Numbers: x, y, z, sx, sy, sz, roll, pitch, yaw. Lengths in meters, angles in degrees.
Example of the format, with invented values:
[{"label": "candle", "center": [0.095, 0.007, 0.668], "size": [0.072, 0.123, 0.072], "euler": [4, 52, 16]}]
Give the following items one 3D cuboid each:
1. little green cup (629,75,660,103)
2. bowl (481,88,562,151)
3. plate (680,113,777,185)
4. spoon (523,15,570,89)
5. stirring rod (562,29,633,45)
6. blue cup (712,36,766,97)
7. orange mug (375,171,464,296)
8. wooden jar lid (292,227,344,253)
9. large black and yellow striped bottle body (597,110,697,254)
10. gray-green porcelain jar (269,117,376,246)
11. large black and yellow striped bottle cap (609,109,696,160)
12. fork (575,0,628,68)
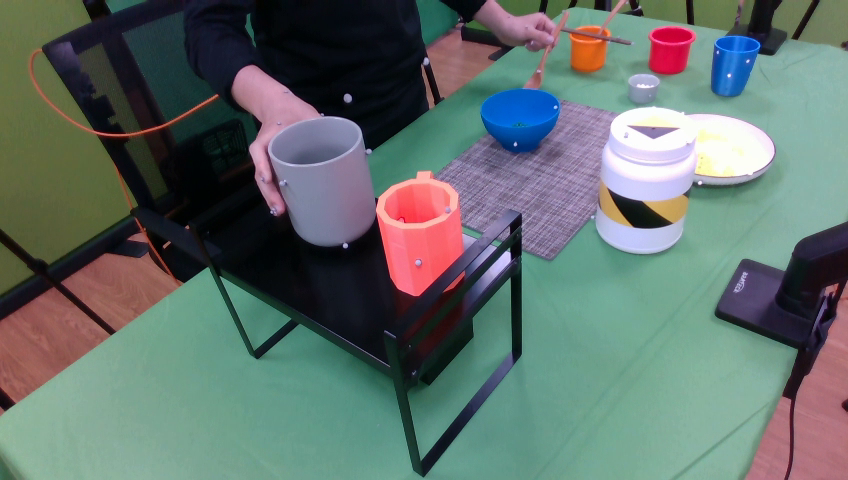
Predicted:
[{"label": "little green cup", "center": [0.457, -0.314, 1.260], "size": [0.061, 0.039, 0.061], "euler": [-4, 40, 4]}, {"label": "bowl", "center": [0.187, -0.223, 1.161], "size": [0.151, 0.077, 0.150], "euler": [-4, 40, 4]}, {"label": "plate", "center": [0.506, -0.158, 1.073], "size": [0.209, 0.038, 0.208], "euler": [-5, 40, 4]}, {"label": "spoon", "center": [0.260, -0.389, 1.276], "size": [0.041, 0.022, 0.193], "euler": [31, 97, 51]}, {"label": "stirring rod", "center": [0.381, -0.452, 1.345], "size": [0.174, 0.006, 0.014], "euler": [25, 49, 33]}, {"label": "blue cup", "center": [0.627, -0.350, 1.227], "size": [0.092, 0.100, 0.092], "euler": [-4, 39, 4]}, {"label": "orange mug", "center": [-0.001, -0.016, 0.662], "size": [0.083, 0.101, 0.125], "euler": [-2, 45, 8]}, {"label": "wooden jar lid", "center": [-0.169, -0.015, 1.026], "size": [0.108, 0.021, 0.108], "euler": [-4, 40, 4]}, {"label": "large black and yellow striped bottle body", "center": [0.331, -0.086, 0.904], "size": [0.131, 0.185, 0.130], "euler": [-5, 41, 4]}, {"label": "gray-green porcelain jar", "center": [-0.115, -0.064, 0.715], "size": [0.106, 0.127, 0.105], "euler": [-4, 40, 4]}, {"label": "large black and yellow striped bottle cap", "center": [0.319, -0.150, 0.849], "size": [0.115, 0.019, 0.114], "euler": [-4, 39, 3]}, {"label": "fork", "center": [0.413, -0.481, 1.377], "size": [0.207, 0.019, 0.028], "euler": [-57, 43, 12]}]
